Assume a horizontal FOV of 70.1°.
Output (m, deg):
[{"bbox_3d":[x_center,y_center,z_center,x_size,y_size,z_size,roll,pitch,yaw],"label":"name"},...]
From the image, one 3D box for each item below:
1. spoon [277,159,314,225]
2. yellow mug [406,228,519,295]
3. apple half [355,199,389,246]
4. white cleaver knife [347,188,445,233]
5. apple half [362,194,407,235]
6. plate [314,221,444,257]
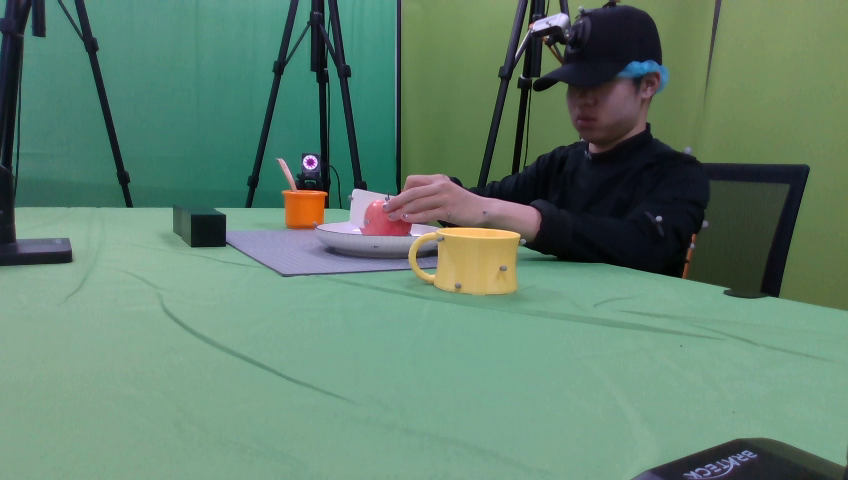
[{"bbox_3d":[-0.272,-0.103,1.260,0.042,0.193,0.021,-4,-34,-33],"label":"spoon"},{"bbox_3d":[0.044,0.022,0.707,0.131,0.064,0.100,2,7,5],"label":"yellow mug"},{"bbox_3d":[-0.087,-0.028,0.946,0.032,0.081,0.081,2,6,29],"label":"apple half"},{"bbox_3d":[-0.042,-0.045,0.997,0.021,0.066,0.288,2,1,31],"label":"white cleaver knife"},{"bbox_3d":[-0.056,-0.029,0.932,0.053,0.074,0.081,19,15,17],"label":"apple half"},{"bbox_3d":[-0.066,-0.002,0.948,0.209,0.038,0.209,3,7,0],"label":"plate"}]
